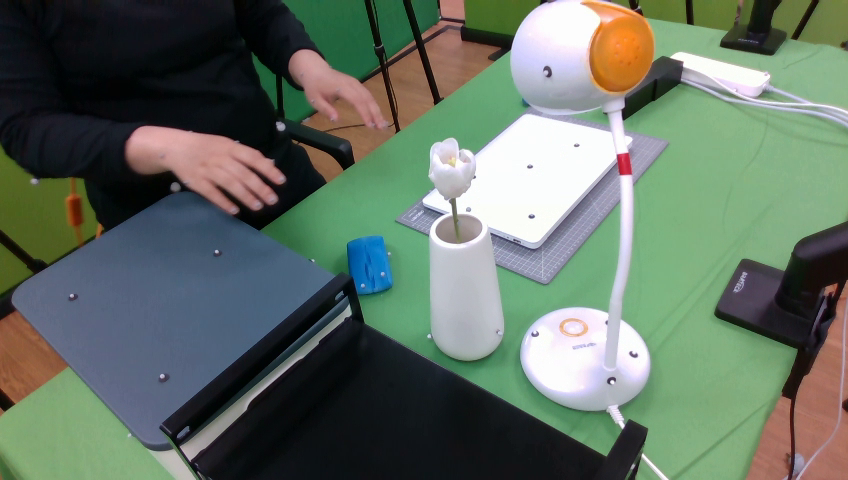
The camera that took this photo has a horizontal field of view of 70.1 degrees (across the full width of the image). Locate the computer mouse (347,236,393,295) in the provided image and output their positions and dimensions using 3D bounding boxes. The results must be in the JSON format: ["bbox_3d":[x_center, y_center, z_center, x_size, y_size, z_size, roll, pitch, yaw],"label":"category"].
[{"bbox_3d":[-0.086,0.035,0.936,0.063,0.041,0.116,-8,44,-5],"label":"computer mouse"}]

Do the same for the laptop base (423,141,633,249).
[{"bbox_3d":[0.194,-0.117,1.087,0.233,0.023,0.355,20,47,34],"label":"laptop base"}]

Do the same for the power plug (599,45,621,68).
[{"bbox_3d":[0.436,-0.421,1.413,0.053,0.035,0.072,-17,75,-48],"label":"power plug"}]

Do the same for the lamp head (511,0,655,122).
[{"bbox_3d":[0.155,-0.168,0.564,0.113,0.113,0.122,-18,23,-12],"label":"lamp head"}]

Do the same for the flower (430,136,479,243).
[{"bbox_3d":[0.041,0.011,0.691,0.044,0.363,0.038,16,63,14],"label":"flower"}]

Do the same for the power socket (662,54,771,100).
[{"bbox_3d":[0.615,-0.348,1.284,0.072,0.033,0.225,-36,48,-29],"label":"power socket"}]

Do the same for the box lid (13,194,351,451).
[{"bbox_3d":[-0.292,0.067,0.717,0.368,0.015,0.264,25,50,33],"label":"box lid"}]

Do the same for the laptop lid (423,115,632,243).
[{"bbox_3d":[0.190,-0.126,1.081,0.239,0.013,0.358,23,48,34],"label":"laptop lid"}]

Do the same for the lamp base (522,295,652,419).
[{"bbox_3d":[0.201,0.095,0.710,0.161,0.181,0.177,-16,43,-10],"label":"lamp base"}]

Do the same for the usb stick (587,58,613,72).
[{"bbox_3d":[0.401,-0.399,1.381,0.059,0.027,0.021,1,50,21],"label":"usb stick"}]

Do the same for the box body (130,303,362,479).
[{"bbox_3d":[-0.285,0.123,0.766,0.361,0.161,0.255,25,49,33],"label":"box body"}]

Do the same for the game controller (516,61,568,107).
[{"bbox_3d":[0.259,-0.352,1.336,0.097,0.052,0.154,-3,41,2],"label":"game controller"}]

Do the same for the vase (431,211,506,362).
[{"bbox_3d":[0.054,0.062,0.757,0.098,0.201,0.097,-3,40,3],"label":"vase"}]
